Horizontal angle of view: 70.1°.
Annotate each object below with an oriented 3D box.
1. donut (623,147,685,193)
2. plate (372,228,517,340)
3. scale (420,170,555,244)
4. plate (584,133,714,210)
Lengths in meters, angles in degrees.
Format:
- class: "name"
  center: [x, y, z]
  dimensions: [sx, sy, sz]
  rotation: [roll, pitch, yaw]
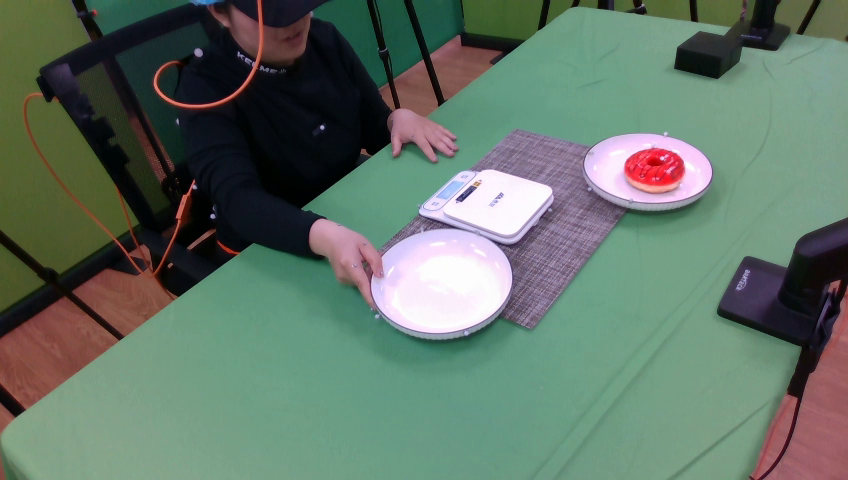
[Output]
- class: "donut"
  center: [0.388, -0.119, 1.019]
  dimensions: [0.099, 0.048, 0.098]
  rotation: [-4, 42, 4]
- class: "plate"
  center: [0.030, 0.066, 0.879]
  dimensions: [0.207, 0.039, 0.206]
  rotation: [-4, 44, 4]
- class: "scale"
  center: [0.106, -0.065, 1.029]
  dimensions: [0.199, 0.032, 0.149]
  rotation: [21, 48, 32]
- class: "plate"
  center: [0.379, -0.113, 1.030]
  dimensions: [0.209, 0.038, 0.208]
  rotation: [-4, 41, 4]
